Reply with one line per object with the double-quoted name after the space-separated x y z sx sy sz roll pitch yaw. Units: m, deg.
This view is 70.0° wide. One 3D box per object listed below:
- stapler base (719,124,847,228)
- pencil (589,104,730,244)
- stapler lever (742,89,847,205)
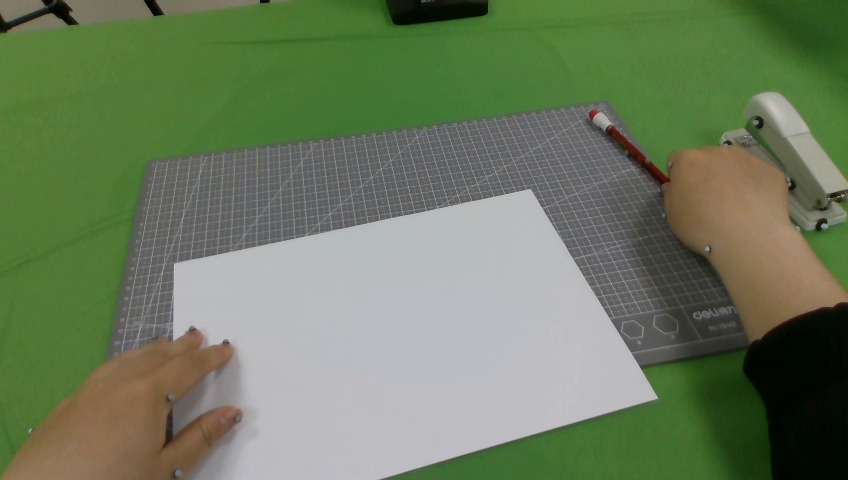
0.309 -0.065 0.523 0.041 0.024 0.129 -14 50 -8 "stapler base"
0.201 -0.063 0.530 0.012 0.012 0.192 -18 51 -15 "pencil"
0.309 -0.081 0.503 0.027 0.040 0.116 -14 50 -8 "stapler lever"
